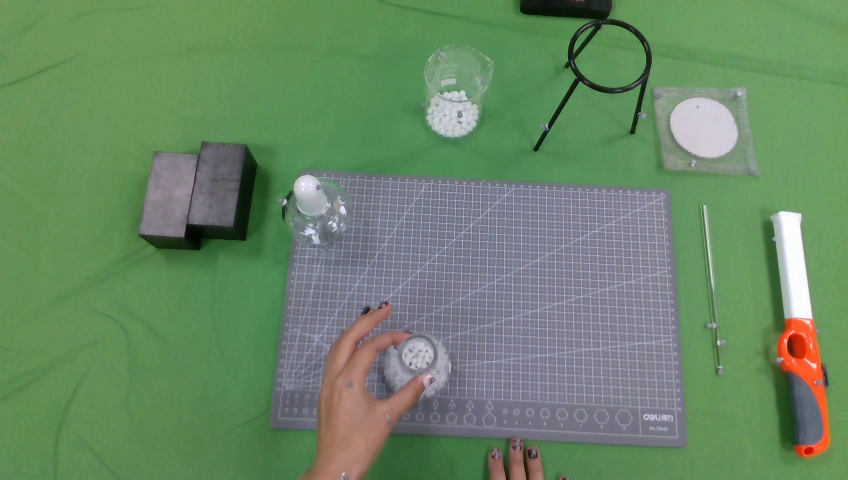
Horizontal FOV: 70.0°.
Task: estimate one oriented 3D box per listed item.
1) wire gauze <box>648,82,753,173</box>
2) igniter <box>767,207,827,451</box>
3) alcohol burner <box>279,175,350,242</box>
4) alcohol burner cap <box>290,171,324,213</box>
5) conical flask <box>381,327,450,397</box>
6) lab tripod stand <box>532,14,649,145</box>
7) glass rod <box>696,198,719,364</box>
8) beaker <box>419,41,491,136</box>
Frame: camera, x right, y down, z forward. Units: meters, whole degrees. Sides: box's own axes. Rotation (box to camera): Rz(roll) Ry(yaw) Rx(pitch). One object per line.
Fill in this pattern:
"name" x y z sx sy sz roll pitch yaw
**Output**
"wire gauze" 0.350 -0.145 0.764 0.125 0.011 0.121 2 74 -3
"igniter" 0.421 0.095 0.687 0.057 0.025 0.275 6 73 -11
"alcohol burner" -0.122 -0.041 0.660 0.078 0.120 0.077 0 74 1
"alcohol burner cap" -0.122 -0.053 0.626 0.034 0.048 0.033 2 66 -3
"conical flask" -0.009 0.118 0.613 0.075 0.122 0.075 0 73 -1
"lab tripod stand" 0.192 -0.180 0.704 0.148 0.132 0.147 0 75 -1
"glass rod" 0.332 0.044 0.708 0.008 0.008 0.198 2 74 -2
"beaker" 0.035 -0.175 0.715 0.084 0.101 0.073 -22 75 -8
